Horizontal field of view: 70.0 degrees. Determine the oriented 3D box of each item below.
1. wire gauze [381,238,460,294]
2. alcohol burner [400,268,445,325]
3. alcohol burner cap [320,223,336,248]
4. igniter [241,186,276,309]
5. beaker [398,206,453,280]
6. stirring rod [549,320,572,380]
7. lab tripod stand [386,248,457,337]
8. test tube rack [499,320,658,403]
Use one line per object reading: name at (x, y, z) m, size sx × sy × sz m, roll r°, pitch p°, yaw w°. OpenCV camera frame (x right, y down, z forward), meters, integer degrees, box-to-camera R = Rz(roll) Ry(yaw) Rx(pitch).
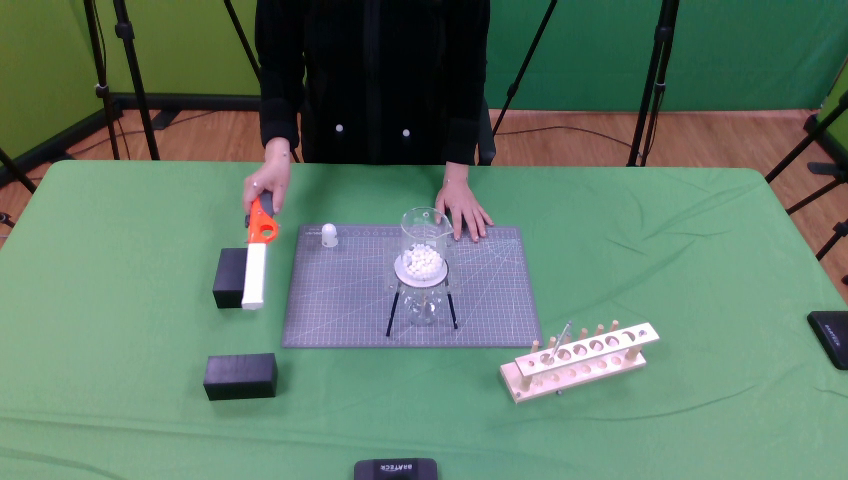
wire gauze at (-0.007, 0.042, 0.985) m, size 0.125 × 0.011 × 0.120 m, roll -1°, pitch 43°, yaw -2°
alcohol burner at (-0.003, 0.092, 1.042) m, size 0.078 × 0.120 × 0.077 m, roll 1°, pitch 46°, yaw -1°
alcohol burner cap at (-0.187, -0.011, 1.176) m, size 0.034 × 0.048 × 0.033 m, roll 2°, pitch 46°, yaw -2°
igniter at (-0.287, 0.003, 1.043) m, size 0.057 × 0.025 × 0.274 m, roll 0°, pitch 47°, yaw -9°
beaker at (0.000, 0.008, 0.950) m, size 0.084 × 0.101 × 0.073 m, roll 10°, pitch 45°, yaw 6°
stirring rod at (0.201, 0.167, 0.901) m, size 0.006 × 0.177 × 0.014 m, roll -16°, pitch 55°, yaw -10°
lab tripod stand at (-0.010, 0.087, 1.032) m, size 0.148 × 0.132 × 0.147 m, roll 1°, pitch 45°, yaw -1°
test tube rack at (0.252, 0.187, 0.994) m, size 0.243 × 0.085 × 0.066 m, roll -12°, pitch 48°, yaw -15°
